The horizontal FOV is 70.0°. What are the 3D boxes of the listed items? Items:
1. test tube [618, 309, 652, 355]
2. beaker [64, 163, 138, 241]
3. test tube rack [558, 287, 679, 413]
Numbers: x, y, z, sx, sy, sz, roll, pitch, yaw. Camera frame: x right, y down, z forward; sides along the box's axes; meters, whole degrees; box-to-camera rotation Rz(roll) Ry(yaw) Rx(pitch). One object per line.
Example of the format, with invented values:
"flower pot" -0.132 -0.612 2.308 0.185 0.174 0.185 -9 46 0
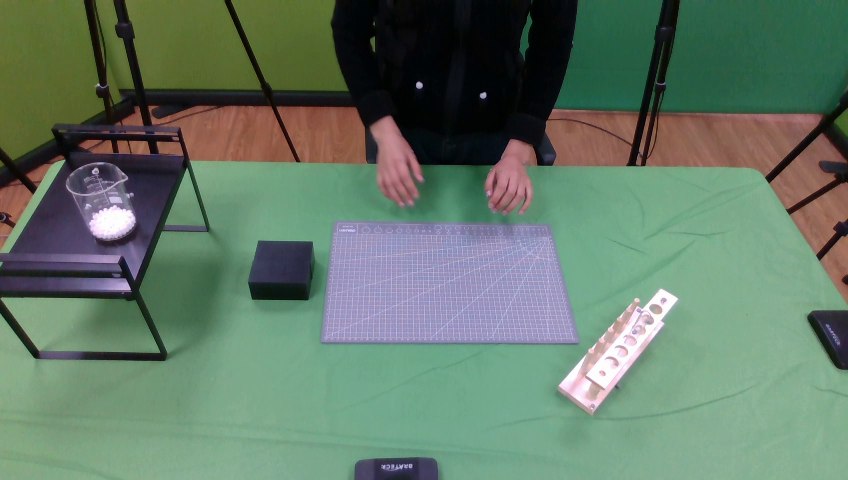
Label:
"test tube" 0.328 0.155 0.955 0.017 0.151 0.017 1 50 -1
"beaker" -0.478 -0.055 0.910 0.084 0.101 0.073 -9 48 -13
"test tube rack" 0.326 0.170 1.009 0.066 0.085 0.242 35 54 26
